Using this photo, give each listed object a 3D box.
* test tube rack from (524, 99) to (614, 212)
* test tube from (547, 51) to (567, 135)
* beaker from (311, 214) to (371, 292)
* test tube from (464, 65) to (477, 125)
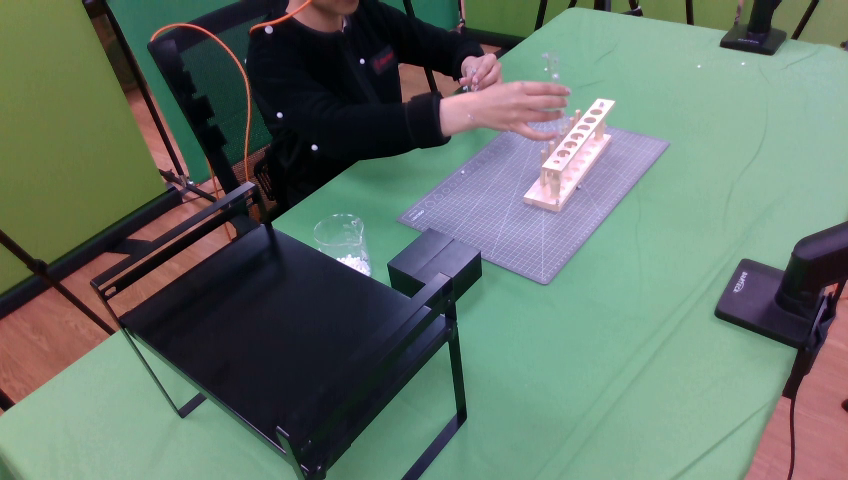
[{"bbox_3d":[0.259,-0.158,1.069,0.066,0.085,0.243,19,47,28],"label":"test tube rack"},{"bbox_3d":[0.209,-0.226,0.947,0.017,0.151,0.017,-11,44,11],"label":"test tube"},{"bbox_3d":[-0.118,0.022,0.908,0.083,0.101,0.074,26,51,32],"label":"beaker"},{"bbox_3d":[0.090,-0.272,1.153,0.017,0.151,0.017,-4,58,7],"label":"test tube"}]
